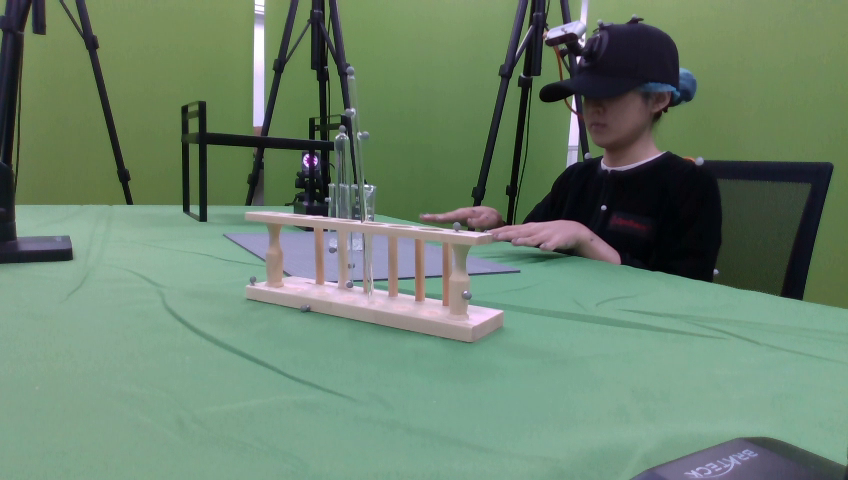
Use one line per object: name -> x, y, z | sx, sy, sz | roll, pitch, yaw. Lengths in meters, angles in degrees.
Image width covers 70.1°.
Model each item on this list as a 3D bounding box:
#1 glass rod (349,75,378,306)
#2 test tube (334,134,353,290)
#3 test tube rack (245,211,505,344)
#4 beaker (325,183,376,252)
glass rod -> -0.051, -0.037, 0.511 | 0.008, 0.199, 0.008 | -4, 10, 1
test tube -> -0.077, -0.026, 0.579 | 0.017, 0.150, 0.017 | 0, 7, 0
test tube rack -> -0.049, 0.025, 0.547 | 0.241, 0.085, 0.067 | 7, 8, 29
beaker -> -0.110, -0.034, 0.920 | 0.083, 0.100, 0.074 | 10, 11, 43
